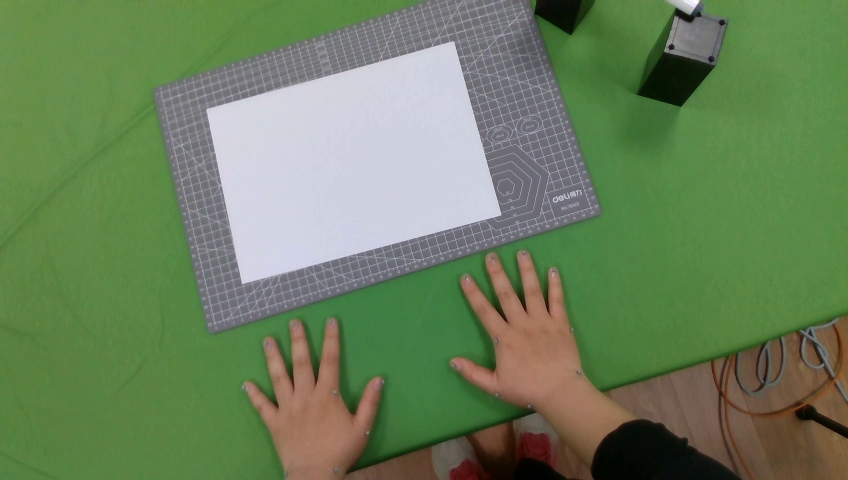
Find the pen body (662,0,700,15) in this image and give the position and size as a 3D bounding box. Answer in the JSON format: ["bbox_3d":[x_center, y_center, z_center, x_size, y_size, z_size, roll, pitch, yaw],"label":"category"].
[{"bbox_3d":[0.198,-0.257,0.581,0.144,0.017,0.017,34,86,8],"label":"pen body"}]
